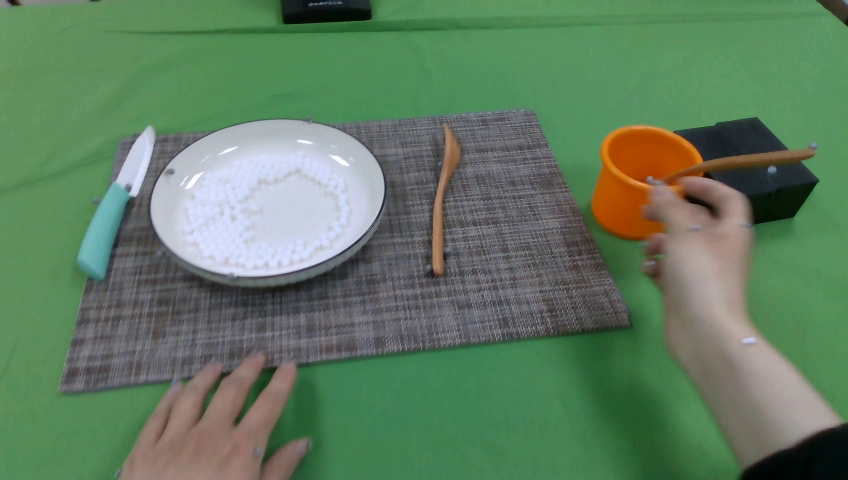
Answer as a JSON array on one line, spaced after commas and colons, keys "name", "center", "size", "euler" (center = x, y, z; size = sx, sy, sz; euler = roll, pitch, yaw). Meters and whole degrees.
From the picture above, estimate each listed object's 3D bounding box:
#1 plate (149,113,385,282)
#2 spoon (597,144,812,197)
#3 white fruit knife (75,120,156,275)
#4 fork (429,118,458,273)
[{"name": "plate", "center": [-0.139, -0.040, 0.560], "size": [0.209, 0.038, 0.207], "euler": [2, 49, -2]}, {"name": "spoon", "center": [0.235, -0.062, 0.534], "size": [0.041, 0.193, 0.022], "euler": [-33, 101, -32]}, {"name": "white fruit knife", "center": [-0.287, -0.050, 0.575], "size": [0.027, 0.016, 0.205], "euler": [21, 42, -23]}, {"name": "fork", "center": [0.018, -0.050, 0.590], "size": [0.018, 0.028, 0.205], "euler": [-14, 46, 26]}]
